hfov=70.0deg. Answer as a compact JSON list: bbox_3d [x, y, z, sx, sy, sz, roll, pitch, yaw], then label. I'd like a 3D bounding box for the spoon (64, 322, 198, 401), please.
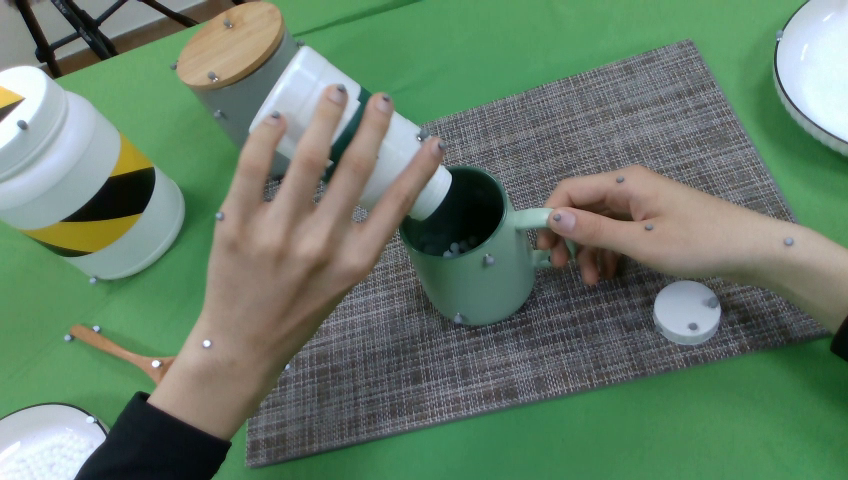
[{"bbox_3d":[-0.273,0.102,0.555,0.192,0.022,0.041,14,84,25],"label":"spoon"}]

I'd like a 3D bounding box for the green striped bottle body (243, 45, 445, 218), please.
[{"bbox_3d":[-0.044,-0.060,0.376,0.063,0.120,0.062,-47,23,27],"label":"green striped bottle body"}]

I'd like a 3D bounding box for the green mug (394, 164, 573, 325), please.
[{"bbox_3d":[0.047,0.003,0.452,0.125,0.106,0.091,-8,57,14],"label":"green mug"}]

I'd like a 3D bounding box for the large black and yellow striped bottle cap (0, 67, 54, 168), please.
[{"bbox_3d":[-0.365,-0.100,0.509,0.115,0.019,0.114,-9,56,13],"label":"large black and yellow striped bottle cap"}]

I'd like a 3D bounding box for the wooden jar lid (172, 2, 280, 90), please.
[{"bbox_3d":[-0.176,-0.173,0.548,0.108,0.021,0.107,-11,56,16],"label":"wooden jar lid"}]

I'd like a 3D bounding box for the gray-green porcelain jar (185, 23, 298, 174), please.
[{"bbox_3d":[-0.158,-0.137,0.597,0.105,0.128,0.105,-10,53,13],"label":"gray-green porcelain jar"}]

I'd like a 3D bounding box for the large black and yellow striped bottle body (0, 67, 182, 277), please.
[{"bbox_3d":[-0.340,-0.059,0.578,0.130,0.186,0.129,-8,58,14],"label":"large black and yellow striped bottle body"}]

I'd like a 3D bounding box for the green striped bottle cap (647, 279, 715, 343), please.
[{"bbox_3d":[0.183,0.050,0.433,0.044,0.020,0.044,-9,52,12],"label":"green striped bottle cap"}]

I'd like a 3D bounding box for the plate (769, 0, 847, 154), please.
[{"bbox_3d":[0.381,-0.134,0.468,0.207,0.039,0.205,-9,57,14],"label":"plate"}]

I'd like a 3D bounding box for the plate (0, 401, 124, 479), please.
[{"bbox_3d":[-0.326,0.234,0.482,0.209,0.038,0.207,-8,57,14],"label":"plate"}]
